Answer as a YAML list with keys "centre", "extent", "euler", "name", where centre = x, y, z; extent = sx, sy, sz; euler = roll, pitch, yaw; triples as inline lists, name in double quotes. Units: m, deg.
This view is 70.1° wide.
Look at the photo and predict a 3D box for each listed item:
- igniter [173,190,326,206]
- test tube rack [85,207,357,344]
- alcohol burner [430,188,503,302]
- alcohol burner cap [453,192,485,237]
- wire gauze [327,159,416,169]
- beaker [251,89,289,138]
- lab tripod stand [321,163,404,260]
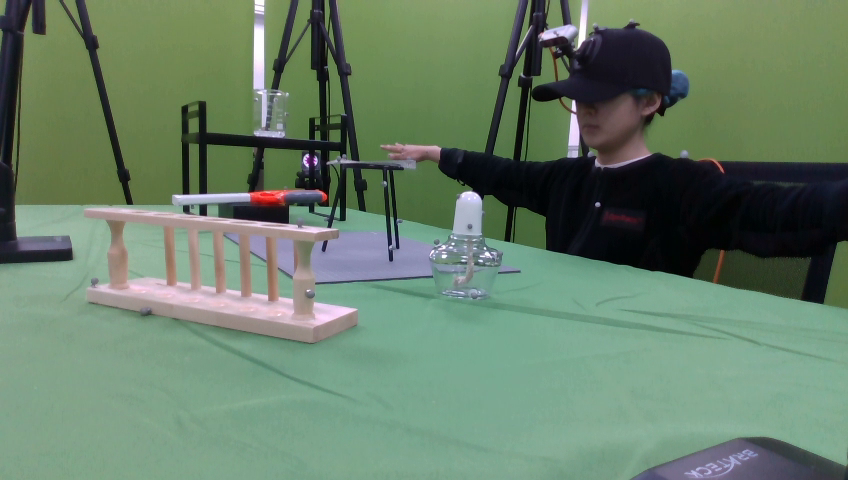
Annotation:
- centre: [-0.317, -0.079, 1.128]
  extent: [0.278, 0.025, 0.057]
  euler: [-4, 13, -32]
  name: "igniter"
- centre: [-0.177, 0.022, 0.518]
  extent: [0.241, 0.085, 0.067]
  euler: [6, 7, 23]
  name: "test tube rack"
- centre: [0.046, 0.005, 0.634]
  extent: [0.078, 0.119, 0.078]
  euler: [5, 7, 0]
  name: "alcohol burner"
- centre: [0.049, -0.026, 0.629]
  extent: [0.034, 0.048, 0.034]
  euler: [3, 6, 0]
  name: "alcohol burner cap"
- centre: [-0.072, -0.111, 0.872]
  extent: [0.121, 0.011, 0.125]
  euler: [3, 5, -2]
  name: "wire gauze"
- centre: [-0.334, -0.273, 1.316]
  extent: [0.084, 0.100, 0.074]
  euler: [6, 8, 15]
  name: "beaker"
- centre: [-0.076, -0.045, 0.884]
  extent: [0.148, 0.131, 0.148]
  euler: [2, 5, 0]
  name: "lab tripod stand"
